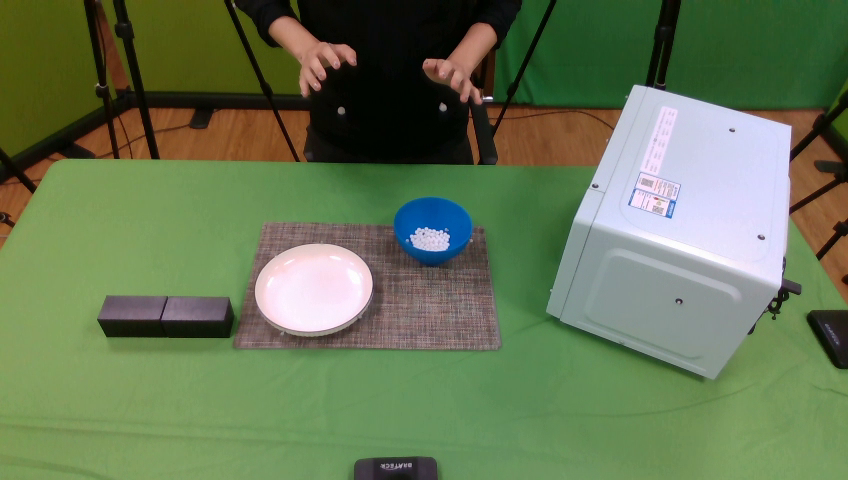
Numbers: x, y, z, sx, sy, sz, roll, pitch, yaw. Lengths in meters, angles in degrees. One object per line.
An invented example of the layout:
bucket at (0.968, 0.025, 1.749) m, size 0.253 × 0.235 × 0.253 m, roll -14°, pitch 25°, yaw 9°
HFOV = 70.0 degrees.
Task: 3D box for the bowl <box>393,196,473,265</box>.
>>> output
bowl at (0.014, -0.006, 1.159) m, size 0.151 × 0.077 × 0.150 m, roll 2°, pitch 46°, yaw -2°

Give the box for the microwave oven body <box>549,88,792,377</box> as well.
microwave oven body at (0.456, -0.028, 1.088) m, size 0.325 × 0.261 × 0.440 m, roll 20°, pitch 47°, yaw 16°

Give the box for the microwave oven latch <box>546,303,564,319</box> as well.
microwave oven latch at (0.242, 0.102, 1.081) m, size 0.030 × 0.029 × 0.079 m, roll 21°, pitch 48°, yaw 17°

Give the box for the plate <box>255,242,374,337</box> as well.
plate at (-0.192, 0.090, 1.079) m, size 0.208 × 0.039 × 0.206 m, roll 2°, pitch 46°, yaw -2°

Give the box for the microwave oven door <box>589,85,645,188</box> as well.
microwave oven door at (0.342, -0.107, 1.149) m, size 0.039 × 0.245 × 0.354 m, roll 20°, pitch 48°, yaw 15°
